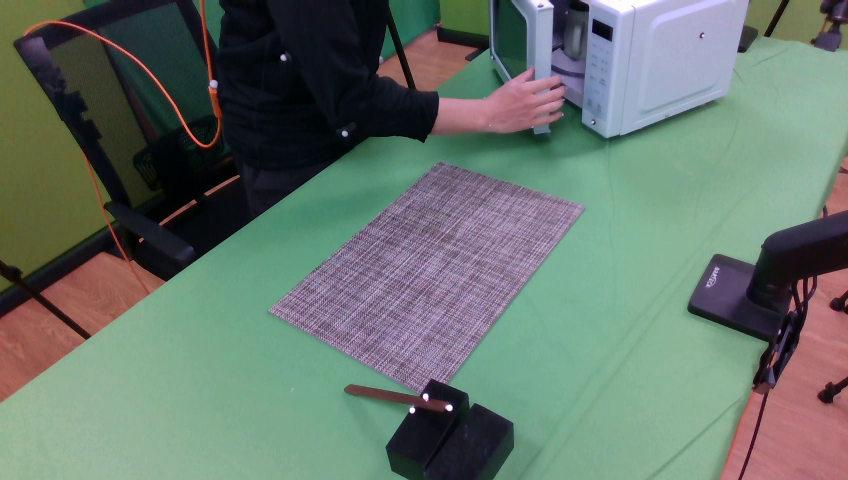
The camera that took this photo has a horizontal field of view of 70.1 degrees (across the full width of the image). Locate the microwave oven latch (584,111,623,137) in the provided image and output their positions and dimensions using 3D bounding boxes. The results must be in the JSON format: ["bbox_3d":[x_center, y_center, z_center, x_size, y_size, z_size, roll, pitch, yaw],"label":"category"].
[{"bbox_3d":[0.337,-0.222,1.142,0.030,0.029,0.078,-21,42,-14],"label":"microwave oven latch"}]

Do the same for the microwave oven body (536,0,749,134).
[{"bbox_3d":[0.382,-0.444,1.246,0.327,0.261,0.437,-22,42,-16],"label":"microwave oven body"}]

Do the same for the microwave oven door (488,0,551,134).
[{"bbox_3d":[0.189,-0.409,1.223,0.039,0.245,0.353,-11,41,-3],"label":"microwave oven door"}]

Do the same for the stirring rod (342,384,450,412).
[{"bbox_3d":[-0.038,0.186,0.714,0.175,0.006,0.014,-3,22,43],"label":"stirring rod"}]
